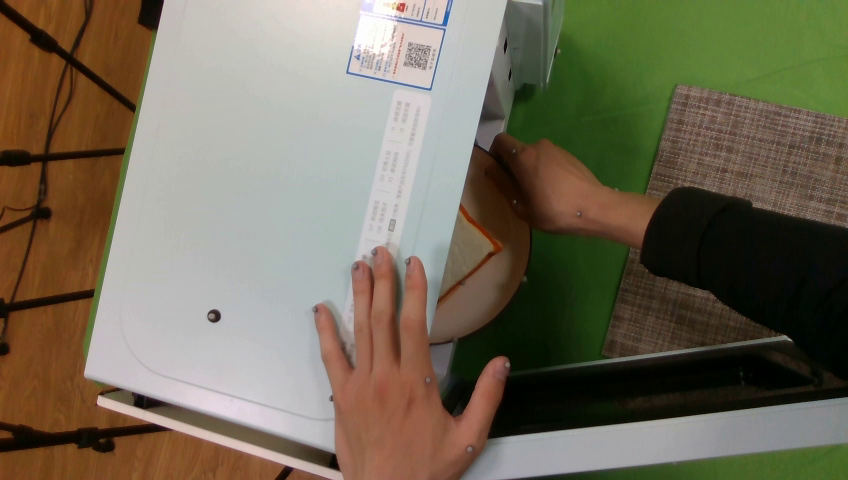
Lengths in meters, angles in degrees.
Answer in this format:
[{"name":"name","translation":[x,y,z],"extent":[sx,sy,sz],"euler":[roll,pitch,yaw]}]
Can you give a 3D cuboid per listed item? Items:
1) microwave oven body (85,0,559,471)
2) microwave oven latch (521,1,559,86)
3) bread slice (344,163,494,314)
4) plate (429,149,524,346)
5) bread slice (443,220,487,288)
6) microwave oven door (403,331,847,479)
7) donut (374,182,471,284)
[{"name":"microwave oven body","translation":[-0.077,-0.069,0.578],"extent":[0.325,0.261,0.441],"euler":[13,92,10]},{"name":"microwave oven latch","translation":[0.122,-0.207,0.641],"extent":[0.030,0.029,0.079],"euler":[14,92,10]},{"name":"bread slice","translation":[-0.014,-0.007,0.602],"extent":[0.107,0.018,0.134],"euler":[-41,81,2]},{"name":"plate","translation":[-0.005,0.001,0.606],"extent":[0.207,0.039,0.207],"euler":[0,89,9]},{"name":"bread slice","translation":[-0.021,-0.006,0.550],"extent":[0.105,0.019,0.131],"euler":[-35,84,13]},{"name":"microwave oven door","translation":[0.178,0.139,0.525],"extent":[0.355,0.244,0.039],"euler":[-11,87,10]},{"name":"donut","translation":[-0.002,-0.006,0.580],"extent":[0.098,0.048,0.099],"euler":[2,95,22]}]
